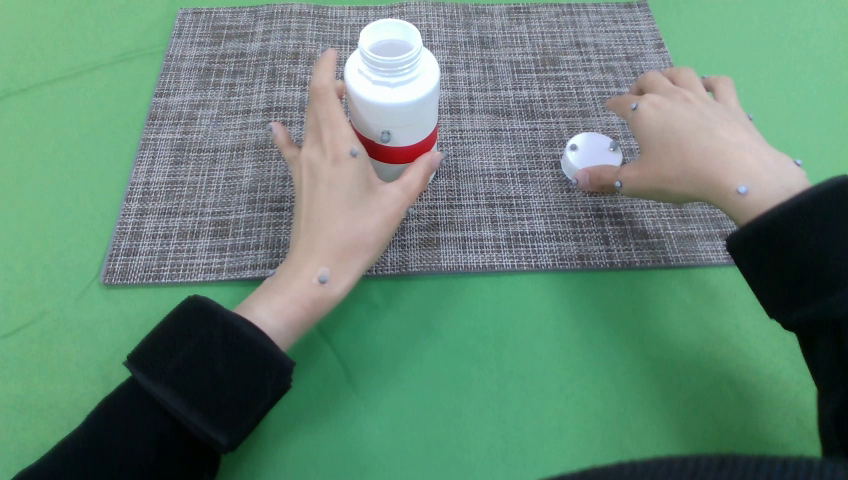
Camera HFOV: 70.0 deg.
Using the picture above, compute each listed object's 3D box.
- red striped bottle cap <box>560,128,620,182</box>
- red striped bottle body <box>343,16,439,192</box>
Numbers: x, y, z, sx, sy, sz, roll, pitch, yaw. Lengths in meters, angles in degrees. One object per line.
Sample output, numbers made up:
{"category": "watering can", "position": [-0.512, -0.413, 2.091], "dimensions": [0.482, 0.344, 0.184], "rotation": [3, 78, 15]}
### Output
{"category": "red striped bottle cap", "position": [0.129, -0.066, 0.469], "dimensions": [0.044, 0.018, 0.044], "rotation": [1, 54, -1]}
{"category": "red striped bottle body", "position": [-0.021, -0.093, 0.420], "dimensions": [0.063, 0.120, 0.062], "rotation": [0, 57, 0]}
